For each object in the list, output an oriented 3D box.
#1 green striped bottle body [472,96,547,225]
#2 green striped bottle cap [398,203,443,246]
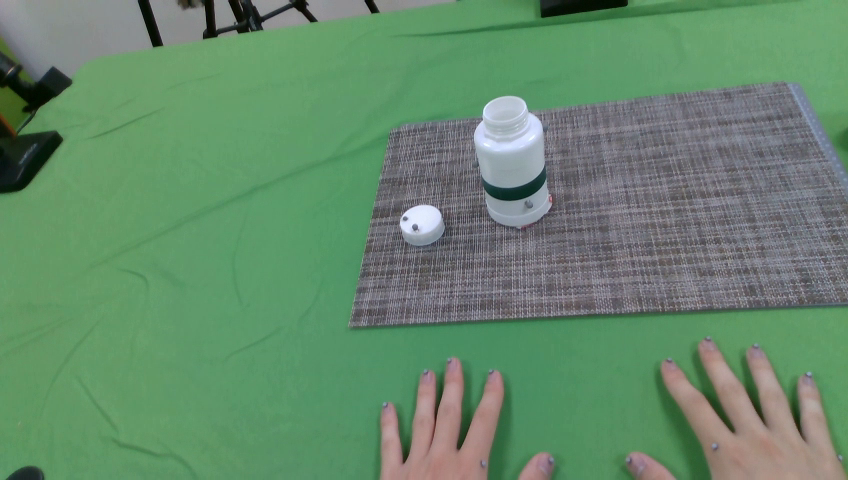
[{"bbox_3d":[0.081,-0.076,0.570,0.063,0.120,0.062,-8,46,9],"label":"green striped bottle body"},{"bbox_3d":[-0.004,-0.016,0.613,0.044,0.020,0.044,-6,46,7],"label":"green striped bottle cap"}]
